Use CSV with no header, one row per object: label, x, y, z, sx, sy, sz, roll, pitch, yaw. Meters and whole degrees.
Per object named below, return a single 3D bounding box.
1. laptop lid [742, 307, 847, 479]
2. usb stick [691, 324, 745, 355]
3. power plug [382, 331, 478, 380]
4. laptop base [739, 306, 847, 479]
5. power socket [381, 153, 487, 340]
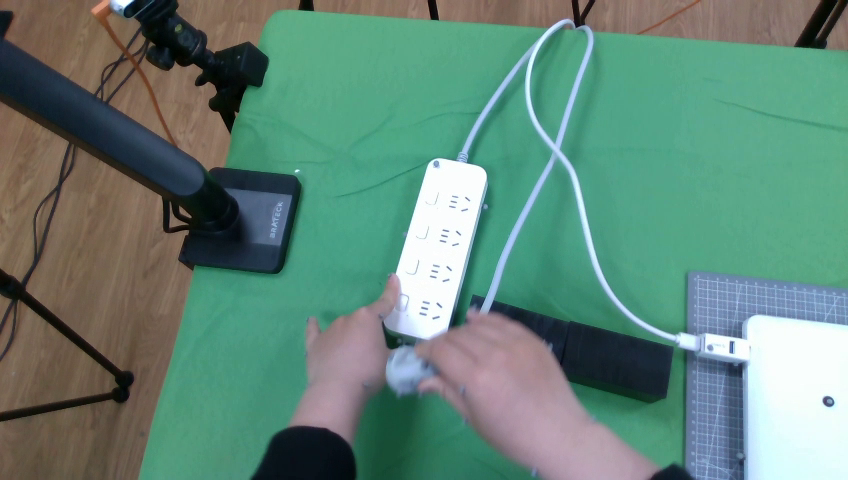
laptop lid,0.481,0.197,0.566,0.356,0.013,0.240,8,74,7
usb stick,0.302,0.102,0.608,0.059,0.027,0.021,12,70,-2
power plug,0.003,0.093,0.486,0.073,0.052,0.035,5,77,-36
laptop base,0.483,0.198,0.577,0.354,0.023,0.234,7,75,6
power socket,0.013,0.004,0.668,0.072,0.033,0.225,14,71,8
